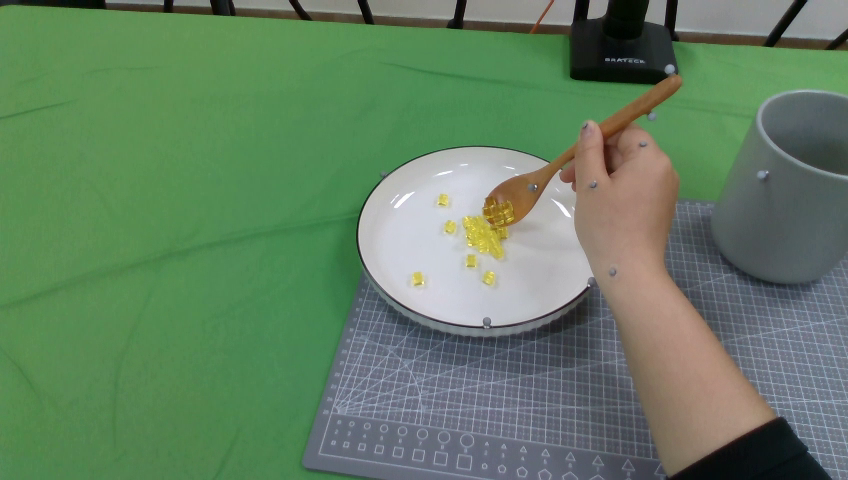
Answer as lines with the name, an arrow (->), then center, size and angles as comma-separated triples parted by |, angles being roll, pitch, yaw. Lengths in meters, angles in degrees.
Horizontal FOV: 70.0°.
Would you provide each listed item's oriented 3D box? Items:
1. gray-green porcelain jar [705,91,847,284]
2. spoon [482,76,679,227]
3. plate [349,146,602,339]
gray-green porcelain jar -> 0.291, -0.035, 0.479 | 0.106, 0.127, 0.105 | -1, 48, 1
spoon -> 0.111, -0.063, 0.466 | 0.022, 0.194, 0.041 | 6, 61, -33
plate -> 0.042, 0.000, 0.513 | 0.208, 0.039, 0.205 | 0, 48, 1
